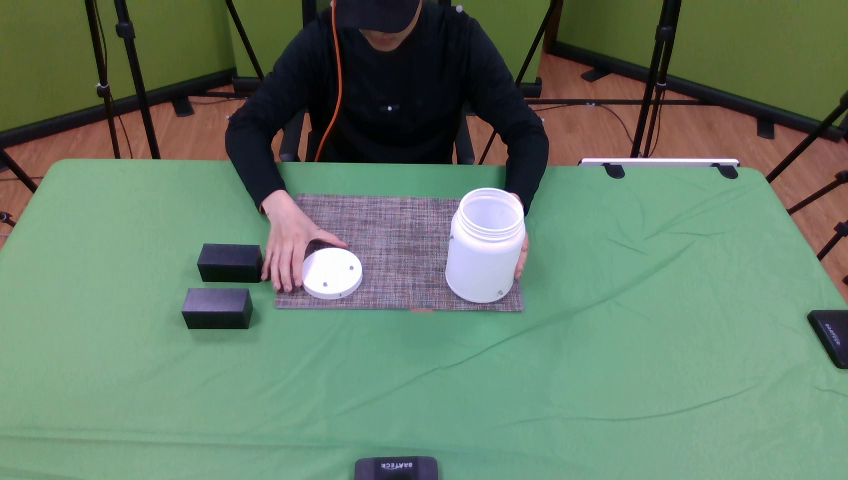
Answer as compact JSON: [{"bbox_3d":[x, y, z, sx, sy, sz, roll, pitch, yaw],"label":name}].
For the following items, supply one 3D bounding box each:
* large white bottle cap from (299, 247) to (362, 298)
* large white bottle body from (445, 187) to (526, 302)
[{"bbox_3d":[-0.173,0.059,1.124,0.115,0.018,0.114,2,47,-2],"label":"large white bottle cap"},{"bbox_3d":[0.109,0.008,1.079,0.131,0.185,0.130,2,47,-2],"label":"large white bottle body"}]
